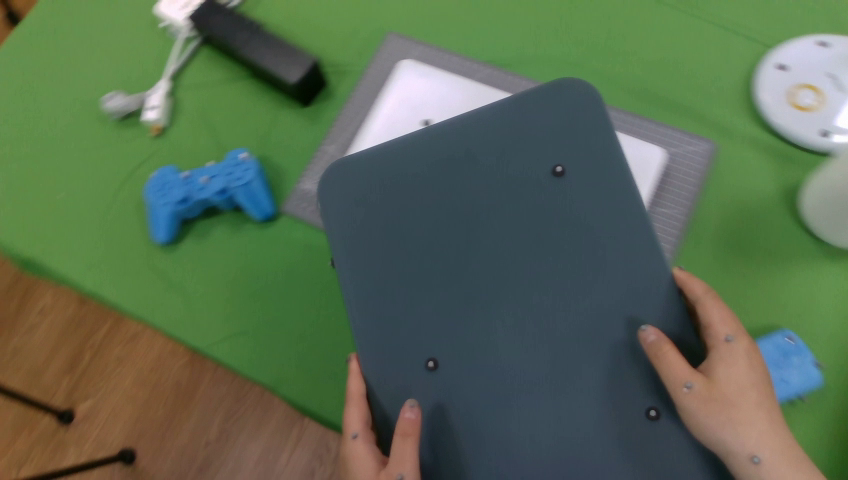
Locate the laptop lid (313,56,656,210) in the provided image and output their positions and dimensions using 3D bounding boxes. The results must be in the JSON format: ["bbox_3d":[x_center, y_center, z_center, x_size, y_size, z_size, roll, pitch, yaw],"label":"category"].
[{"bbox_3d":[0.066,-0.077,0.720,0.355,0.013,0.241,25,76,15],"label":"laptop lid"}]

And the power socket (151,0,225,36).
[{"bbox_3d":[-0.306,-0.391,0.886,0.072,0.033,0.226,32,75,15],"label":"power socket"}]

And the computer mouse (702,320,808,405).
[{"bbox_3d":[0.329,0.125,0.616,0.117,0.041,0.062,-19,65,-6],"label":"computer mouse"}]

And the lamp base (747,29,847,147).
[{"bbox_3d":[0.472,-0.216,0.653,0.179,0.181,0.159,-29,69,-7],"label":"lamp base"}]

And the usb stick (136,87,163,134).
[{"bbox_3d":[-0.369,-0.172,0.812,0.021,0.027,0.059,5,77,-1],"label":"usb stick"}]

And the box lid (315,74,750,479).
[{"bbox_3d":[0.070,0.059,0.492,0.263,0.015,0.369,-19,77,6],"label":"box lid"}]

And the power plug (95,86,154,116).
[{"bbox_3d":[-0.412,-0.192,0.832,0.052,0.035,0.073,19,30,38],"label":"power plug"}]

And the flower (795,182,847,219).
[{"bbox_3d":[0.450,-0.105,0.514,0.038,0.363,0.043,15,61,-6],"label":"flower"}]

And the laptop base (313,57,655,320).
[{"bbox_3d":[0.068,-0.075,0.732,0.353,0.023,0.235,23,76,14],"label":"laptop base"}]

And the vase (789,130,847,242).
[{"bbox_3d":[0.442,-0.074,0.592,0.098,0.201,0.097,-3,67,7],"label":"vase"}]

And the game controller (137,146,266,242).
[{"bbox_3d":[-0.280,-0.062,0.752,0.155,0.052,0.096,-13,66,1],"label":"game controller"}]
